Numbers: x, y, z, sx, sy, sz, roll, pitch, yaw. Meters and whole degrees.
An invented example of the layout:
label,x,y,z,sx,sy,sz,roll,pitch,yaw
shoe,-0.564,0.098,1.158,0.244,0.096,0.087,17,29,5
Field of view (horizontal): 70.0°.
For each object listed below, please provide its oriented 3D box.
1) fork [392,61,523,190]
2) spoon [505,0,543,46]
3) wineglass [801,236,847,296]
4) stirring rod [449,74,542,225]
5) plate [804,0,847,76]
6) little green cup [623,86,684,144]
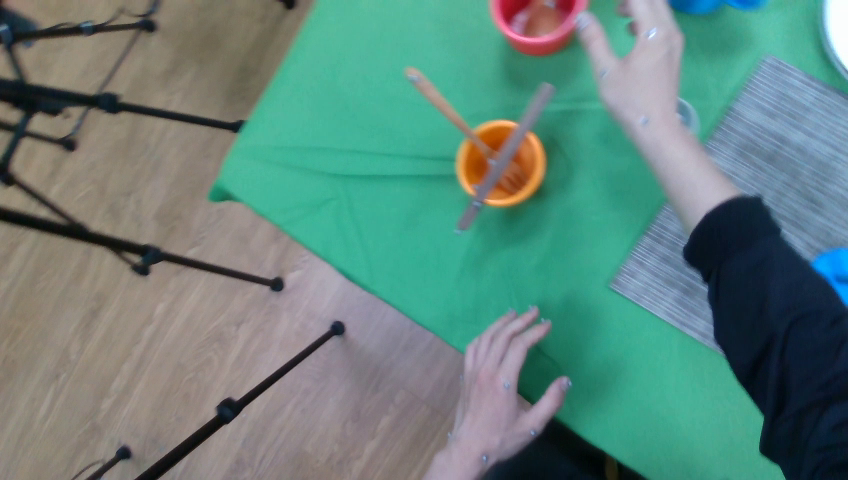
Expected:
label,x,y,z,sx,sy,sz,roll,pitch,yaw
fork,0.040,-0.118,0.643,0.028,0.018,0.209,-43,127,14
spoon,0.119,-0.293,0.624,0.041,0.021,0.195,17,139,9
wineglass,0.419,0.029,0.560,0.073,0.172,0.073,0,91,11
stirring rod,0.074,-0.093,0.635,0.014,0.006,0.176,31,97,9
plate,0.493,-0.250,0.608,0.209,0.038,0.209,0,93,11
little green cup,0.247,-0.133,0.659,0.061,0.039,0.061,0,93,12
